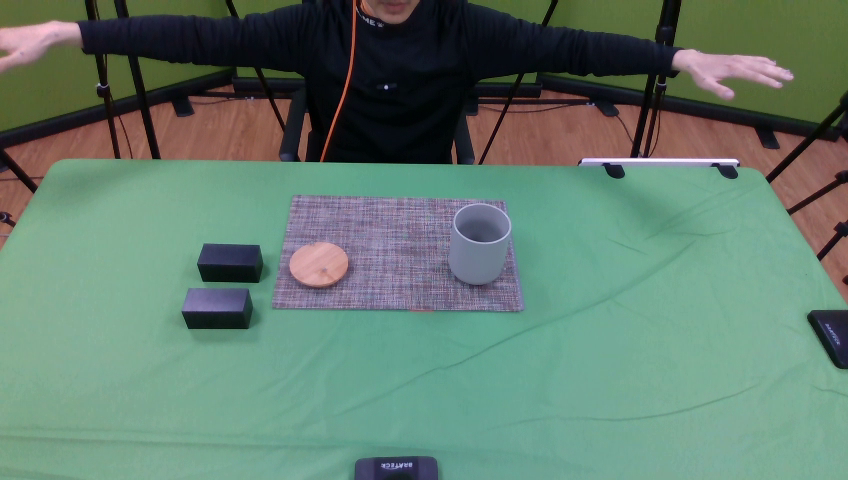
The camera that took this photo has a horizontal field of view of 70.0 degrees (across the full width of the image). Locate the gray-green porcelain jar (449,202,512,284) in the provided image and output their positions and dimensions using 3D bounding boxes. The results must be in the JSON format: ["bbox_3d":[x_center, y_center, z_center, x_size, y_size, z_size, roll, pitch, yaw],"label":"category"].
[{"bbox_3d":[0.100,0.010,1.116,0.106,0.127,0.105,2,47,-2],"label":"gray-green porcelain jar"}]

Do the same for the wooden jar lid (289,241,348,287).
[{"bbox_3d":[-0.196,0.047,1.133,0.108,0.021,0.107,3,45,-2],"label":"wooden jar lid"}]
